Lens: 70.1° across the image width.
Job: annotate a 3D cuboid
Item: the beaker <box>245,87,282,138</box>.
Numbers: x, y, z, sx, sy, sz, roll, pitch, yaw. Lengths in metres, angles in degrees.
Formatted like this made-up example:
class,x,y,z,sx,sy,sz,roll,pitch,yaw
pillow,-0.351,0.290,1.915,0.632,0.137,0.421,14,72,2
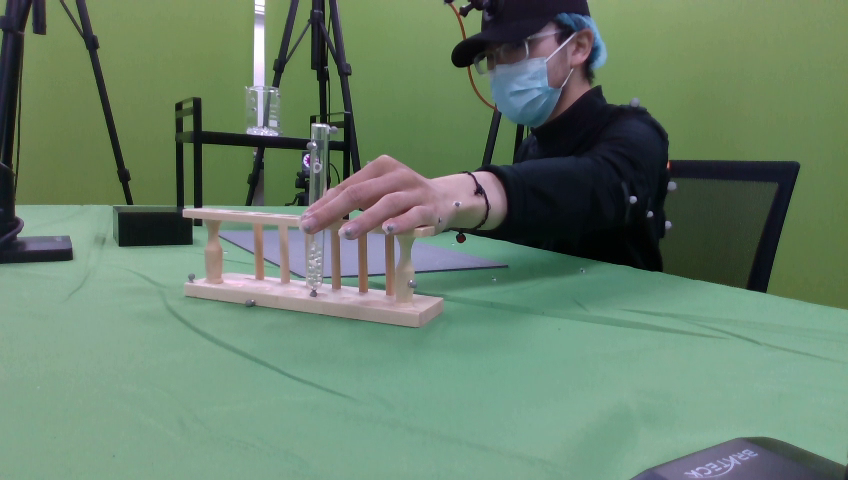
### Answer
class,x,y,z,sx,sy,sz,roll,pitch,yaw
beaker,-0.337,-0.266,1.260,0.074,0.100,0.084,5,8,23

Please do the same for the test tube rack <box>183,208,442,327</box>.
class,x,y,z,sx,sy,sz,roll,pitch,yaw
test tube rack,-0.106,0.019,0.570,0.241,0.085,0.067,5,8,20

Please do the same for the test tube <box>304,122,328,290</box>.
class,x,y,z,sx,sy,sz,roll,pitch,yaw
test tube,-0.097,-0.029,0.541,0.017,0.150,0.017,4,7,0
